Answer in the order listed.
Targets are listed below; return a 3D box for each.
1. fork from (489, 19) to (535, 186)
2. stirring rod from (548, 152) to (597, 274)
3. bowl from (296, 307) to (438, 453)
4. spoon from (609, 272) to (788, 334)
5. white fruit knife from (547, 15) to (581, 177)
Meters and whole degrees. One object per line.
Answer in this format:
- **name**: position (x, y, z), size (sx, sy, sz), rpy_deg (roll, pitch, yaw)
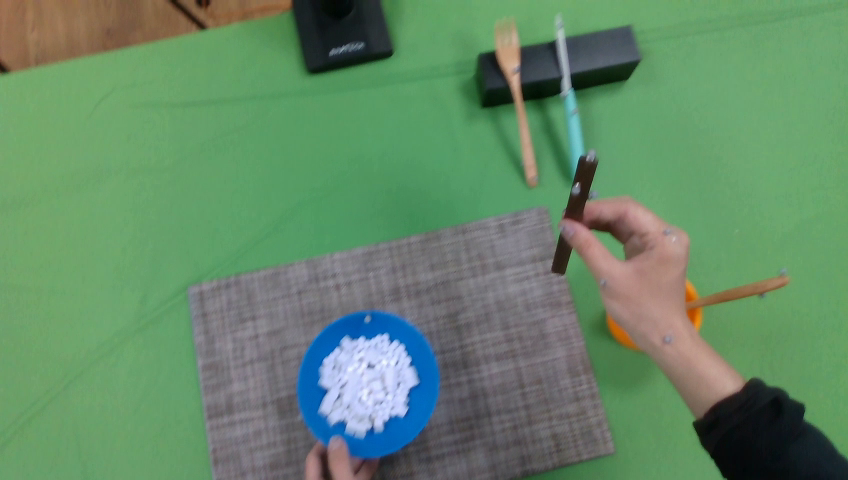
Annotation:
- **fork**: position (0.112, -0.169, 0.757), size (0.028, 0.018, 0.207), rpy_deg (-15, 97, -8)
- **stirring rod**: position (0.118, -0.015, 0.492), size (0.014, 0.177, 0.006), rpy_deg (16, 63, 13)
- **bowl**: position (-0.059, 0.155, 0.673), size (0.151, 0.077, 0.150), rpy_deg (0, 76, 0)
- **spoon**: position (0.296, 0.068, 0.668), size (0.022, 0.193, 0.041), rpy_deg (6, 68, -45)
- **white fruit knife**: position (0.174, -0.178, 0.759), size (0.016, 0.027, 0.207), rpy_deg (-11, 93, -6)
